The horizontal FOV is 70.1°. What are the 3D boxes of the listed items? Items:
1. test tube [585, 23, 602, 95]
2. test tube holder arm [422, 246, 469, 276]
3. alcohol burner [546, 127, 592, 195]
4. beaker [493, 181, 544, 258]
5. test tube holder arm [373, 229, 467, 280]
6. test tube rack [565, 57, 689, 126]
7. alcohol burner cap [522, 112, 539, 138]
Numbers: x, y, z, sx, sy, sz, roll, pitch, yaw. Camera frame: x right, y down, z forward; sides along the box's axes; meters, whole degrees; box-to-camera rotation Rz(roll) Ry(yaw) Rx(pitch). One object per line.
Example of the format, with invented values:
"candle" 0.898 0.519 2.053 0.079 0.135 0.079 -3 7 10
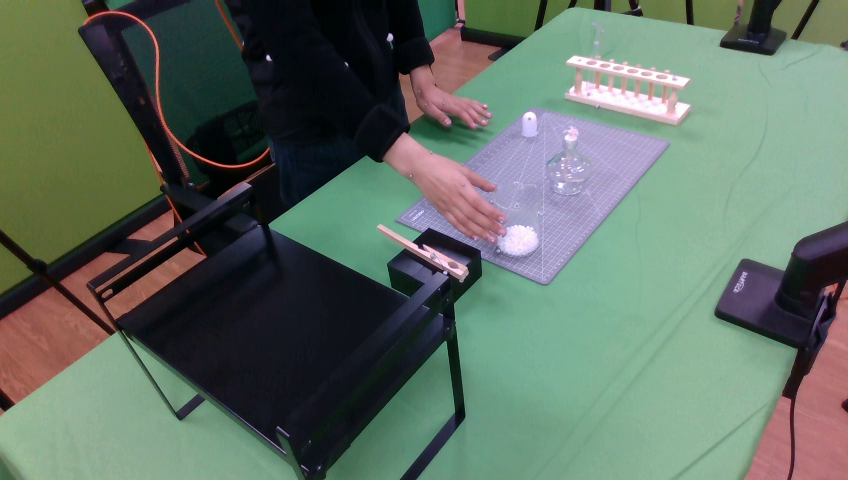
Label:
"test tube" 0.342 -0.364 1.226 0.017 0.151 0.017 -2 42 2
"test tube holder arm" 0.028 0.031 0.864 0.087 0.015 0.010 25 49 34
"alcohol burner" 0.246 -0.137 1.024 0.078 0.119 0.077 -4 38 4
"beaker" 0.145 -0.031 0.925 0.074 0.101 0.084 6 41 16
"test tube holder arm" -0.010 0.019 0.885 0.177 0.015 0.013 23 48 33
"test tube rack" 0.411 -0.311 1.230 0.240 0.085 0.067 23 49 32
"alcohol burner cap" 0.210 -0.230 1.195 0.034 0.048 0.033 -6 41 6
